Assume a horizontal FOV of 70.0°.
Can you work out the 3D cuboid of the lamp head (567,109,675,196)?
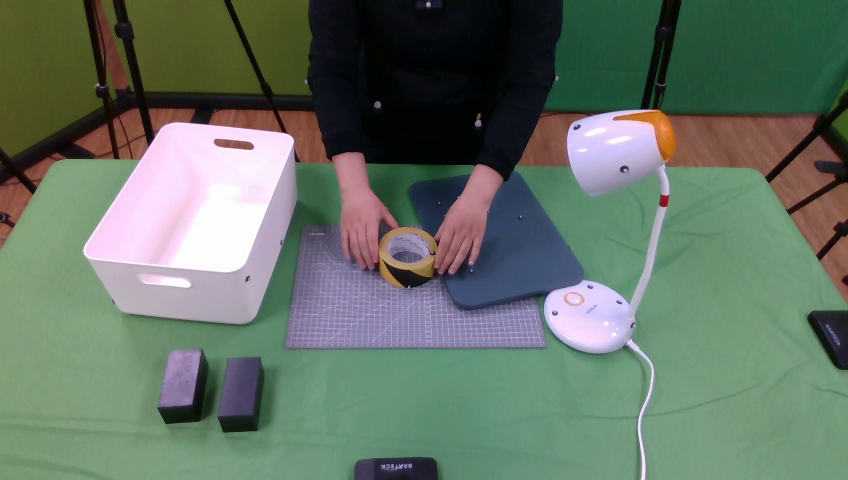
[{"bbox_3d":[0.272,-0.123,0.818,0.122,0.113,0.112,-9,35,37],"label":"lamp head"}]

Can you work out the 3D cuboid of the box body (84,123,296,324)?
[{"bbox_3d":[-0.393,-0.035,1.104,0.254,0.161,0.362,5,46,1],"label":"box body"}]

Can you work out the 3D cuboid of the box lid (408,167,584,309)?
[{"bbox_3d":[0.133,-0.018,1.223,0.263,0.015,0.369,-11,45,-12],"label":"box lid"}]

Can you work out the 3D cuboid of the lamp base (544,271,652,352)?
[{"bbox_3d":[0.310,0.086,1.029,0.178,0.181,0.160,32,52,21],"label":"lamp base"}]

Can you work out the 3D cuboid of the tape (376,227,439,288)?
[{"bbox_3d":[-0.032,0.032,1.140,0.117,0.053,0.116,2,46,-2],"label":"tape"}]
